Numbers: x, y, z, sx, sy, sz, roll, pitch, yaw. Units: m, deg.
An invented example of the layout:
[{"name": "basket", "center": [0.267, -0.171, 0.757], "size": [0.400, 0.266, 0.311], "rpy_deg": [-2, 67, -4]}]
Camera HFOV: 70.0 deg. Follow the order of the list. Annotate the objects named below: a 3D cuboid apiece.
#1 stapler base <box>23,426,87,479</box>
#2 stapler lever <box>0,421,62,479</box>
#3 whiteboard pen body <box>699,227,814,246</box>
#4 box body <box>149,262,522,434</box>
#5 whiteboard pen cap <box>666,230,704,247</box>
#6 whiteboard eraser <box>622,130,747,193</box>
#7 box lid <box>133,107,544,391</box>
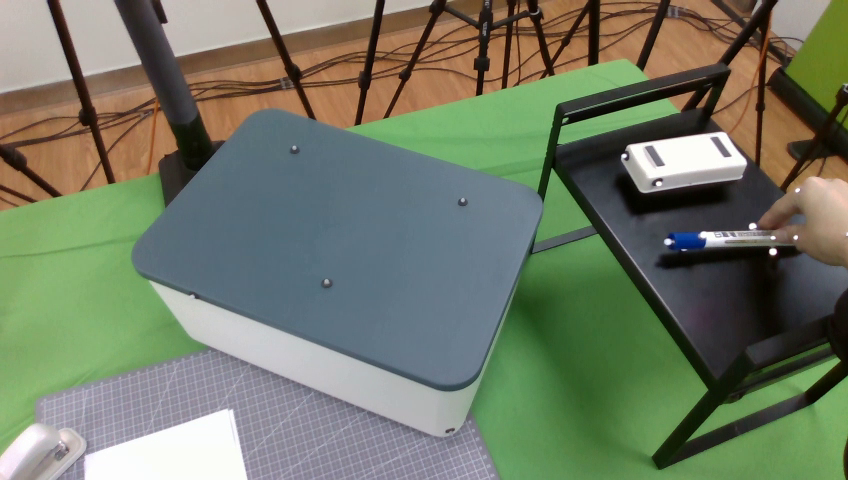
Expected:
[{"name": "stapler base", "center": [-0.406, 0.243, 0.610], "size": [0.041, 0.024, 0.130], "rpy_deg": [28, 60, 24]}, {"name": "stapler lever", "center": [-0.408, 0.229, 0.589], "size": [0.026, 0.040, 0.118], "rpy_deg": [28, 60, 24]}, {"name": "whiteboard pen body", "center": [0.307, -0.003, 0.581], "size": [0.141, 0.017, 0.017], "rpy_deg": [-1, 52, -8]}, {"name": "box body", "center": [-0.080, 0.031, 0.689], "size": [0.363, 0.162, 0.252], "rpy_deg": [18, 54, 13]}, {"name": "whiteboard pen cap", "center": [0.249, -0.001, 0.573], "size": [0.033, 0.018, 0.018], "rpy_deg": [-1, 52, -8]}, {"name": "whiteboard eraser", "center": [0.269, -0.080, 0.630], "size": [0.113, 0.042, 0.055], "rpy_deg": [-8, 54, -8]}, {"name": "box lid", "center": [-0.081, -0.015, 0.631], "size": [0.370, 0.015, 0.262], "rpy_deg": [19, 54, 12]}]
